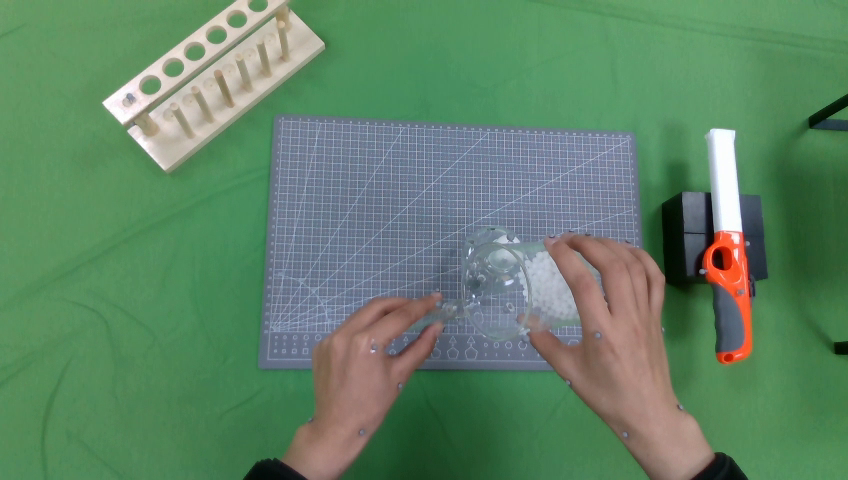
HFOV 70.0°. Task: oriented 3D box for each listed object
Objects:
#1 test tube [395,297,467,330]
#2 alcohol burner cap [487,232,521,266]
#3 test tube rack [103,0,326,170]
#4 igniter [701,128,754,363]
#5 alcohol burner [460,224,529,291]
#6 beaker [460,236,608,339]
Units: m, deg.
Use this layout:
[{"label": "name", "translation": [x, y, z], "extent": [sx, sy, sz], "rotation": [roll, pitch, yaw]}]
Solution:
[{"label": "test tube", "translation": [0.002, 0.068, 0.548], "extent": [0.017, 0.150, 0.017], "rotation": [5, 76, -20]}, {"label": "alcohol burner cap", "translation": [0.085, 0.008, 0.626], "extent": [0.034, 0.048, 0.033], "rotation": [0, 80, -2]}, {"label": "test tube rack", "translation": [-0.225, -0.192, 0.685], "extent": [0.242, 0.085, 0.066], "rotation": [-43, 85, -13]}, {"label": "igniter", "translation": [0.346, 0.002, 0.695], "extent": [0.057, 0.025, 0.275], "rotation": [5, 75, -4]}, {"label": "alcohol burner", "translation": [0.081, 0.015, 0.661], "extent": [0.078, 0.119, 0.077], "rotation": [2, 76, -7]}, {"label": "beaker", "translation": [0.088, 0.036, 0.479], "extent": [0.101, 0.084, 0.073], "rotation": [-3, 70, -37]}]
